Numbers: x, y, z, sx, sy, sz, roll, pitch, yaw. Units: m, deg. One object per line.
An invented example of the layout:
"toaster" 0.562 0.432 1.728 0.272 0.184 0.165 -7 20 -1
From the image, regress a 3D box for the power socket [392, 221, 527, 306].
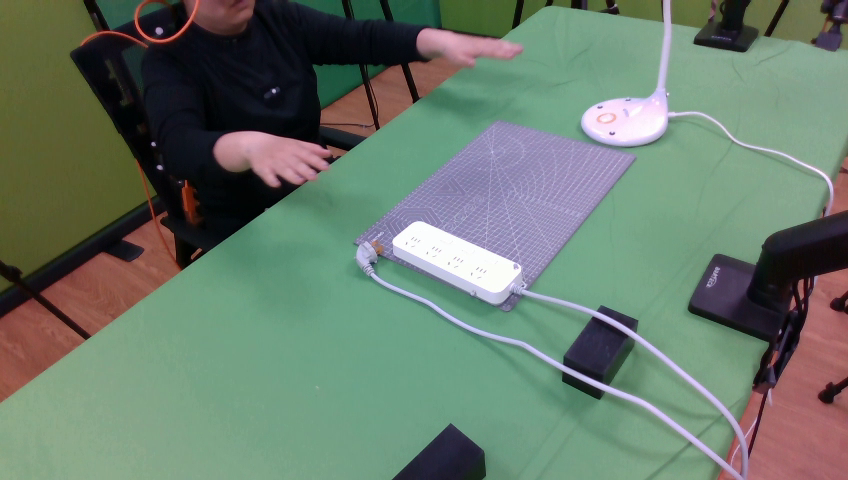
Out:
"power socket" 0.047 0.031 0.912 0.225 0.033 0.072 25 51 32

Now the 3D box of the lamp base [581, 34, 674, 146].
"lamp base" 0.392 -0.291 1.129 0.180 0.181 0.159 -11 41 -8

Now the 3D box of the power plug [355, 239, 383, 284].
"power plug" -0.078 0.033 0.947 0.053 0.035 0.072 -34 82 -22
